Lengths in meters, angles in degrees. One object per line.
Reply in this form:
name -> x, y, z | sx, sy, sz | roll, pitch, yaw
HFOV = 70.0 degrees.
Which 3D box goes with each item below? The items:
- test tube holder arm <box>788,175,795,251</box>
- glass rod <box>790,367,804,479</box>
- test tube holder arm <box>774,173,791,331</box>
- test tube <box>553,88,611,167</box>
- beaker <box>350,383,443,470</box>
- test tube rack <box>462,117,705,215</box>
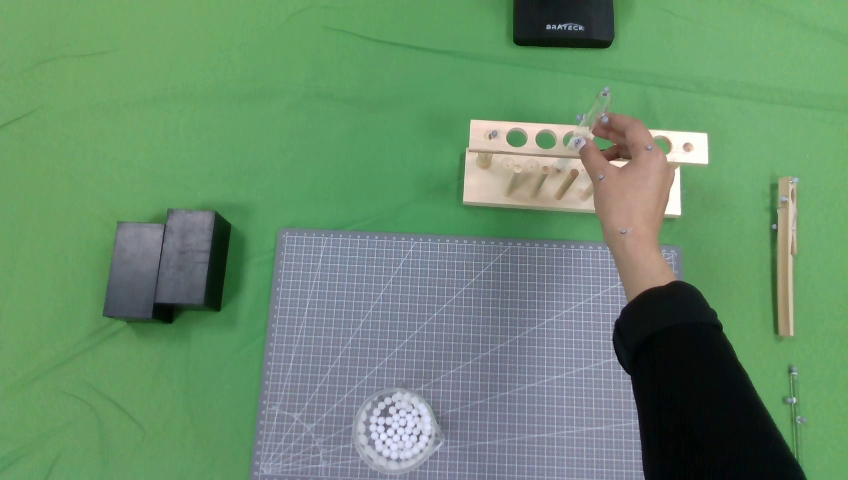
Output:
test tube holder arm -> 0.407, -0.031, 0.679 | 0.010, 0.015, 0.087 | 16, 75, -27
glass rod -> 0.384, 0.231, 0.621 | 0.008, 0.008, 0.198 | 4, 76, 1
test tube holder arm -> 0.395, 0.011, 0.667 | 0.013, 0.015, 0.177 | 16, 76, -27
test tube -> 0.156, -0.108, 0.612 | 0.017, 0.151, 0.017 | 1, 73, -3
beaker -> -0.023, 0.178, 0.584 | 0.084, 0.100, 0.073 | 11, 77, 3
test tube rack -> 0.165, -0.078, 0.656 | 0.242, 0.085, 0.066 | 4, 76, 1
